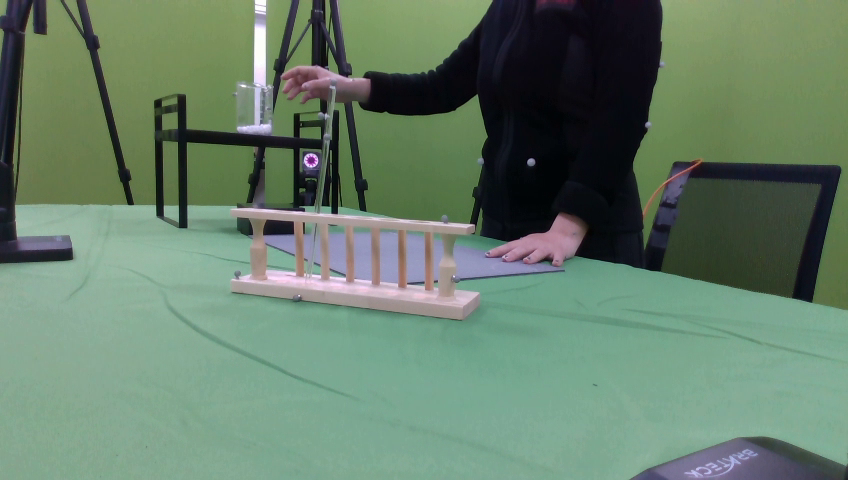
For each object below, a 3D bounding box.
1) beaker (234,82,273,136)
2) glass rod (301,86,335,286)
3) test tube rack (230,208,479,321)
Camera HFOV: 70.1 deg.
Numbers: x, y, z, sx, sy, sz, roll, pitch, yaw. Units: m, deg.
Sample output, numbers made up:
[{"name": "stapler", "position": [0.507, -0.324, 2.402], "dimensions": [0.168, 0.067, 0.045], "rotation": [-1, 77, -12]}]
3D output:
[{"name": "beaker", "position": [-0.338, -0.260, 1.208], "dimensions": [0.083, 0.100, 0.074], "rotation": [11, 11, 42]}, {"name": "glass rod", "position": [-0.104, -0.049, 0.588], "dimensions": [0.008, 0.199, 0.008], "rotation": [9, 7, -1]}, {"name": "test tube rack", "position": [-0.069, 0.017, 0.598], "dimensions": [0.242, 0.085, 0.067], "rotation": [5, 8, 18]}]
